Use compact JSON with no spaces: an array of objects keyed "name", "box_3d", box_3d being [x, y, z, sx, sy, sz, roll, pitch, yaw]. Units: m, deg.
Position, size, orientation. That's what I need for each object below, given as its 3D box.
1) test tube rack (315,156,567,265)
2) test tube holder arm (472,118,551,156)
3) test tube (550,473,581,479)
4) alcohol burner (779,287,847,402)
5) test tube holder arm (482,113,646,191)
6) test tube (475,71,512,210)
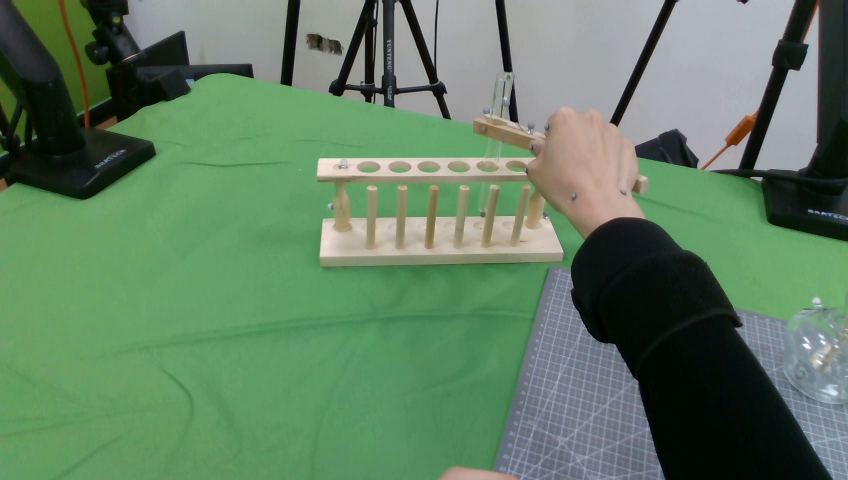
[{"name":"test tube rack","box_3d":[0.017,-0.030,0.602,0.243,0.086,0.066,-1,38,-6]},{"name":"test tube holder arm","box_3d":[0.080,-0.095,0.552,0.087,0.015,0.010,24,46,35]},{"name":"test tube","box_3d":[0.044,0.158,0.270,0.017,0.151,0.017,8,30,-4]},{"name":"alcohol burner","box_3d":[0.326,0.068,0.469,0.078,0.120,0.077,1,35,-1]},{"name":"test tube holder arm","box_3d":[0.115,-0.080,0.527,0.013,0.015,0.176,-31,43,-29]},{"name":"test tube","box_3d":[0.065,-0.090,0.582,0.017,0.151,0.017,3,41,-3]}]
